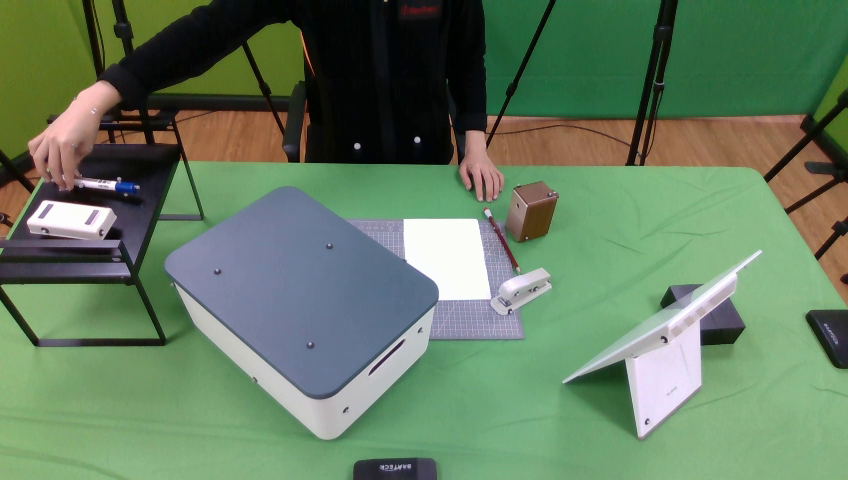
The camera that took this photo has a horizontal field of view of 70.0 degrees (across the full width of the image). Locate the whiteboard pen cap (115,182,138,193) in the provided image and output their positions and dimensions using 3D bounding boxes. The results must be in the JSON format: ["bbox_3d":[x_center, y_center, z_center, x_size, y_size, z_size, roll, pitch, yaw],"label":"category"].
[{"bbox_3d":[-0.483,-0.086,0.984,0.033,0.018,0.018,7,46,10],"label":"whiteboard pen cap"}]

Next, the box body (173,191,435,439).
[{"bbox_3d":[-0.191,0.110,0.979,0.362,0.161,0.254,33,53,24],"label":"box body"}]

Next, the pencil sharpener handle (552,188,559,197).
[{"bbox_3d":[0.261,-0.084,1.221,0.031,0.068,0.036,-16,66,-19],"label":"pencil sharpener handle"}]

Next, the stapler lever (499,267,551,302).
[{"bbox_3d":[0.185,0.076,1.101,0.118,0.040,0.026,-25,56,-29],"label":"stapler lever"}]

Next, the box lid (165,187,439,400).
[{"bbox_3d":[-0.186,0.060,0.925,0.370,0.015,0.263,32,53,25],"label":"box lid"}]

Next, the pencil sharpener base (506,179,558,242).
[{"bbox_3d":[0.216,-0.059,1.211,0.077,0.107,0.061,-16,49,-19],"label":"pencil sharpener base"}]

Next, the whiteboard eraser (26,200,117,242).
[{"bbox_3d":[-0.532,-0.026,0.919,0.113,0.042,0.055,7,45,3],"label":"whiteboard eraser"}]

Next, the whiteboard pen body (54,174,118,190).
[{"bbox_3d":[-0.541,-0.093,0.993,0.140,0.017,0.017,7,46,9],"label":"whiteboard pen body"}]

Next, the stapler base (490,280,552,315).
[{"bbox_3d":[0.181,0.094,1.118,0.130,0.024,0.041,-24,56,-29],"label":"stapler base"}]

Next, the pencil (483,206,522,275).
[{"bbox_3d":[0.158,-0.002,1.217,0.012,0.012,0.192,-11,48,-14],"label":"pencil"}]

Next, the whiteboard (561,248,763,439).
[{"bbox_3d":[0.386,0.176,0.905,0.217,0.306,0.143,-26,72,-27],"label":"whiteboard"}]
